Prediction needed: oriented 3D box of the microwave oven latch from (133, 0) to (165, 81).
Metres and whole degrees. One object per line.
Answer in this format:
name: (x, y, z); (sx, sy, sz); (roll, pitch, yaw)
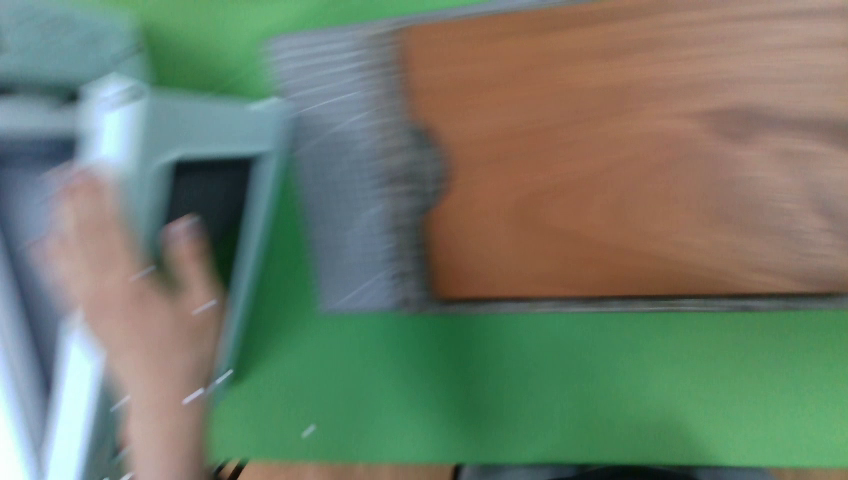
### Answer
microwave oven latch: (-0.289, -0.204, 0.616); (0.030, 0.029, 0.079); (-5, 100, 12)

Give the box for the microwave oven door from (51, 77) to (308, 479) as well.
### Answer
microwave oven door: (-0.210, 0.038, 0.543); (0.039, 0.243, 0.356); (20, 104, 8)

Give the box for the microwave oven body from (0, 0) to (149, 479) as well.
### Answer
microwave oven body: (-0.430, -0.001, 0.583); (0.325, 0.260, 0.443); (-5, 100, 12)
